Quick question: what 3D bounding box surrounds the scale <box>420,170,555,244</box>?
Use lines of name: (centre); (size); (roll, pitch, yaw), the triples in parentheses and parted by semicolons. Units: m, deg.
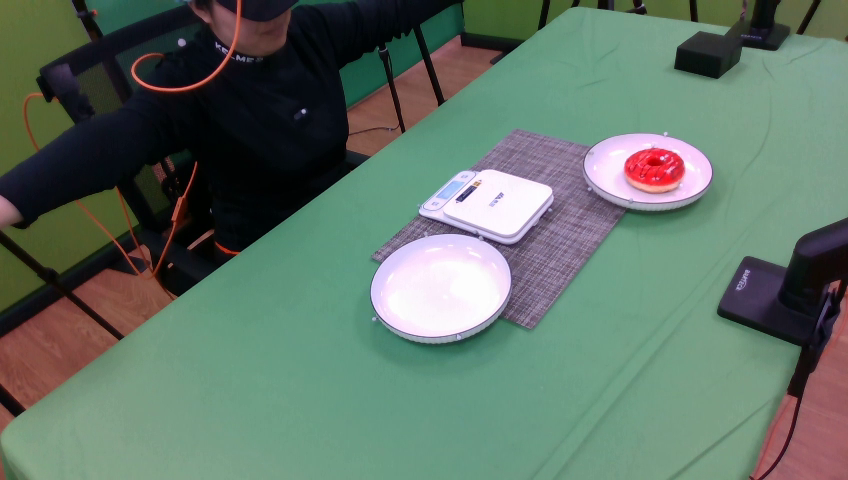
scale: (0.106, -0.065, 1.029); (0.199, 0.032, 0.149); (21, 48, 32)

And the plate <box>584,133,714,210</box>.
plate: (0.379, -0.113, 1.030); (0.209, 0.038, 0.208); (-4, 41, 4)

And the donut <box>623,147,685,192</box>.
donut: (0.388, -0.119, 1.019); (0.099, 0.048, 0.098); (-4, 42, 4)

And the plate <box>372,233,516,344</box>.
plate: (0.030, 0.072, 0.879); (0.207, 0.039, 0.206); (-6, 42, 6)
